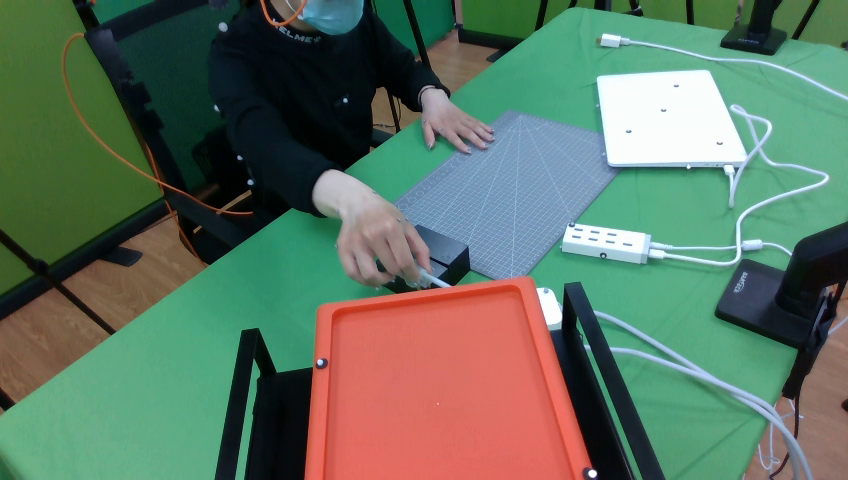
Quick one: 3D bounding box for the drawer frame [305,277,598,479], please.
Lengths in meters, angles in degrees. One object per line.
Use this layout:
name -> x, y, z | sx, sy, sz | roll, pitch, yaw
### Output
drawer frame -> 0.014, 0.137, 0.486 | 0.202, 0.083, 0.212 | -8, 41, -1

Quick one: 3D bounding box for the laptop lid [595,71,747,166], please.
laptop lid -> 0.466, -0.248, 1.181 | 0.241, 0.013, 0.355 | 1, 41, 12

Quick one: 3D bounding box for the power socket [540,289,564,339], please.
power socket -> 0.080, 0.112, 0.822 | 0.227, 0.033, 0.072 | -7, 41, -1

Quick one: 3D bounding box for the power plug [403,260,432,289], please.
power plug -> -0.005, 0.055, 0.770 | 0.035, 0.053, 0.072 | -27, 34, 1

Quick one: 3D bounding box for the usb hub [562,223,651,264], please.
usb hub -> 0.279, 0.005, 0.925 | 0.124, 0.025, 0.049 | 10, 42, 19

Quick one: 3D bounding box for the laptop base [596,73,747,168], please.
laptop base -> 0.469, -0.238, 1.189 | 0.235, 0.023, 0.353 | -1, 40, 11

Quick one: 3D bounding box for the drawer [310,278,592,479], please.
drawer -> 0.013, 0.137, 0.489 | 0.195, 0.073, 0.210 | -7, 41, 0

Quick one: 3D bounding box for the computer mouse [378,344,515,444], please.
computer mouse -> 0.018, 0.126, 0.520 | 0.116, 0.041, 0.063 | 13, 47, 29

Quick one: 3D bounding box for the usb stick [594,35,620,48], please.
usb stick -> 0.443, -0.482, 1.466 | 0.059, 0.021, 0.027 | 9, 43, 10
